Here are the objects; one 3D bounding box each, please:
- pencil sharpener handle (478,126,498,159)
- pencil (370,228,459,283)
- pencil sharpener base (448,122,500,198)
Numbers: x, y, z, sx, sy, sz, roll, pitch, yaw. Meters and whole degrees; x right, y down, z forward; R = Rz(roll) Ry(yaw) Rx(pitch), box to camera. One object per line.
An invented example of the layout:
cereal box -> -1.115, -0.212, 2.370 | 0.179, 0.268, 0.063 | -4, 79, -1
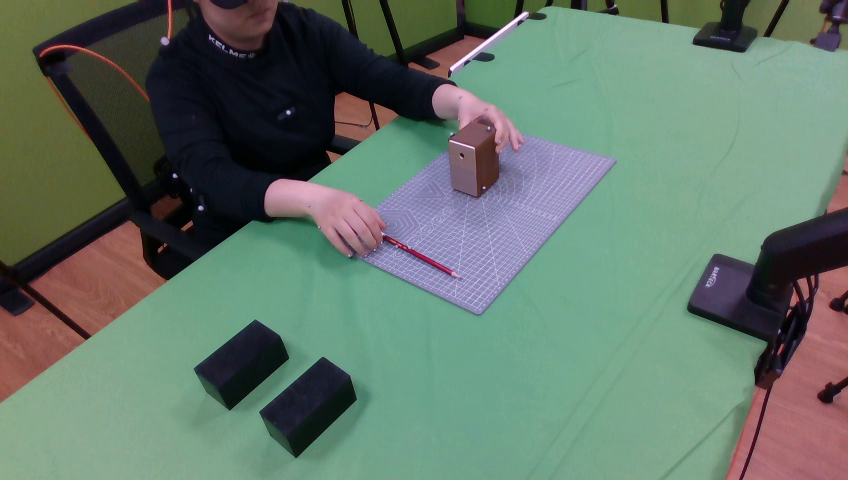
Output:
pencil sharpener handle -> 0.119, -0.178, 1.074 | 0.035, 0.068, 0.031 | 23, 48, 30
pencil -> -0.017, 0.023, 0.952 | 0.192, 0.012, 0.012 | 30, 53, 33
pencil sharpener base -> 0.089, -0.140, 1.052 | 0.061, 0.107, 0.077 | 22, 48, 31
